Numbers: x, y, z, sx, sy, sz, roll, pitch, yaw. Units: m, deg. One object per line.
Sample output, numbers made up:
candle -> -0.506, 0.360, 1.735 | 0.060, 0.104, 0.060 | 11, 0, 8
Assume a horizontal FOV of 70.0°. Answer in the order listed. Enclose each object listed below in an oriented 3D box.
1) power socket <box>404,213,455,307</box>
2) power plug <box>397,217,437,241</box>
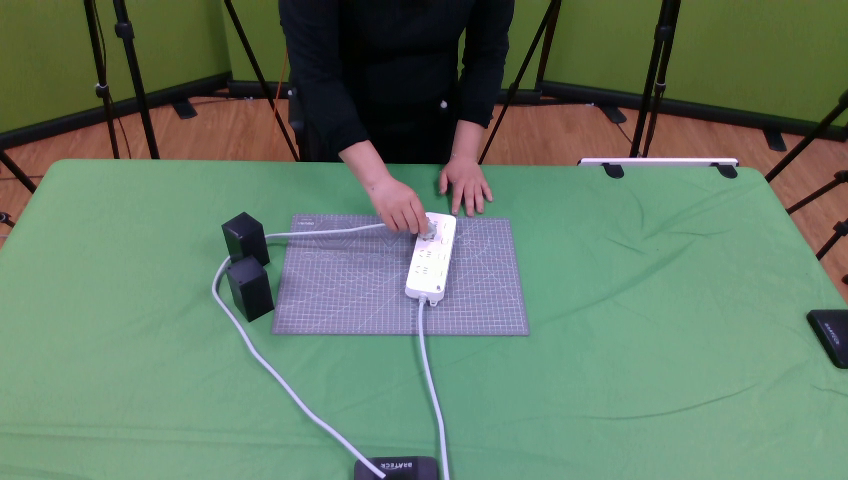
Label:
power socket -> 0.013, 0.029, 1.159 | 0.072, 0.033, 0.225 | 8, 46, 5
power plug -> -0.010, -0.022, 1.164 | 0.072, 0.053, 0.035 | 14, 45, 21
